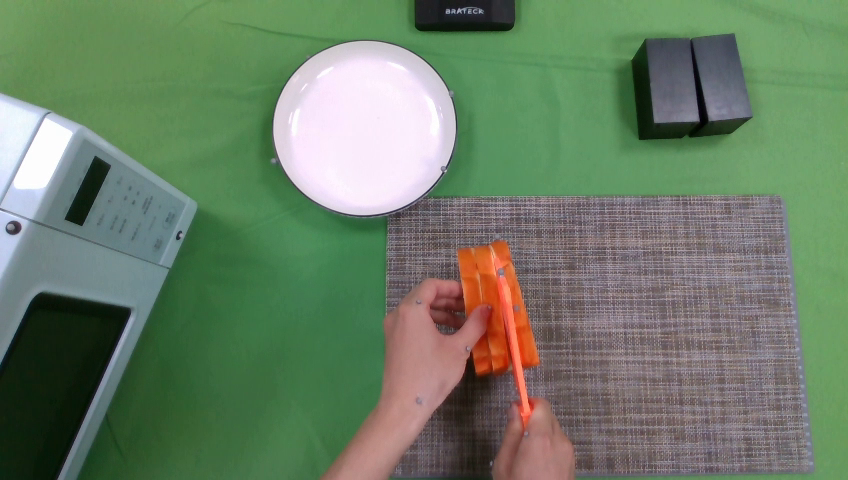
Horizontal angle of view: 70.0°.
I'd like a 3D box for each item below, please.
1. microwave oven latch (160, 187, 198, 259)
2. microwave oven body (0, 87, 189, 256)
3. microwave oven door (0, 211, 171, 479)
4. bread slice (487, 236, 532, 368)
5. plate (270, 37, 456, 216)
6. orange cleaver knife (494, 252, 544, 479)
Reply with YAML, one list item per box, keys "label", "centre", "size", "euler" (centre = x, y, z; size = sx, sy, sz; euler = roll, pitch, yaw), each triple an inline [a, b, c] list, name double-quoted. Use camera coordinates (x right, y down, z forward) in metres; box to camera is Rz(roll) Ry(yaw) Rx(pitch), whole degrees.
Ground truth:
- label: "microwave oven latch"
  centre: [-0.273, -0.021, 0.653]
  size: [0.030, 0.029, 0.079]
  euler: [22, 82, 3]
- label: "microwave oven body"
  centre: [-0.475, 0.074, 0.539]
  size: [0.326, 0.261, 0.440]
  euler: [20, 81, 3]
- label: "microwave oven door"
  centre: [-0.353, 0.162, 0.519]
  size: [0.039, 0.244, 0.355]
  euler: [20, 81, 4]
- label: "bread slice"
  centre: [0.084, 0.063, 0.618]
  size: [0.018, 0.107, 0.133]
  euler: [-9, 78, 0]
- label: "plate"
  centre: [-0.067, -0.126, 0.689]
  size: [0.208, 0.039, 0.207]
  euler: [0, 80, 0]
- label: "orange cleaver knife"
  centre: [0.087, 0.117, 0.561]
  size: [0.012, 0.077, 0.212]
  euler: [-11, 101, 3]
